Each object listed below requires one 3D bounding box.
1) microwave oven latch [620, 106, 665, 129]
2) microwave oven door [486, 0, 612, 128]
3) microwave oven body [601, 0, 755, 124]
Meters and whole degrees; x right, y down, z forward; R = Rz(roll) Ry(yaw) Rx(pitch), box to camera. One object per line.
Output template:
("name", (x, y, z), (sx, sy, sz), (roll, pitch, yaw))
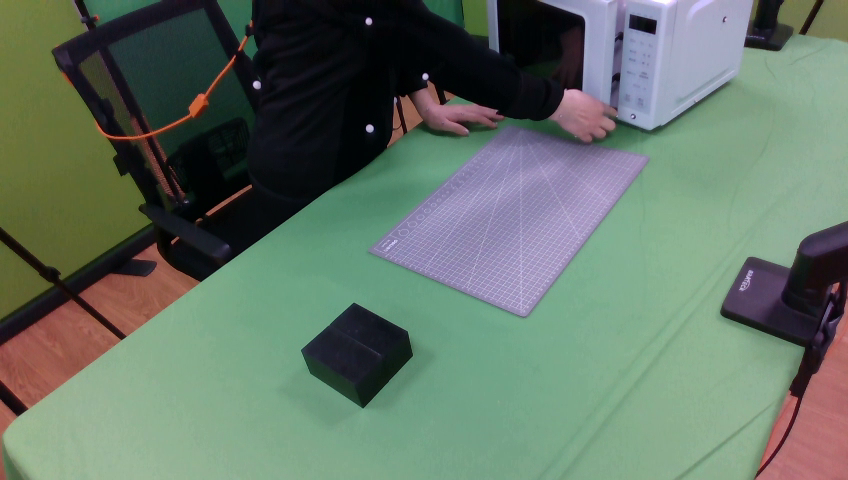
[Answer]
("microwave oven latch", (0.413, -0.237, 1.146), (0.030, 0.029, 0.078), (-32, 44, -23))
("microwave oven door", (0.243, -0.399, 1.213), (0.039, 0.245, 0.352), (-27, 43, -19))
("microwave oven body", (0.402, -0.458, 1.259), (0.327, 0.261, 0.437), (-33, 45, -24))
